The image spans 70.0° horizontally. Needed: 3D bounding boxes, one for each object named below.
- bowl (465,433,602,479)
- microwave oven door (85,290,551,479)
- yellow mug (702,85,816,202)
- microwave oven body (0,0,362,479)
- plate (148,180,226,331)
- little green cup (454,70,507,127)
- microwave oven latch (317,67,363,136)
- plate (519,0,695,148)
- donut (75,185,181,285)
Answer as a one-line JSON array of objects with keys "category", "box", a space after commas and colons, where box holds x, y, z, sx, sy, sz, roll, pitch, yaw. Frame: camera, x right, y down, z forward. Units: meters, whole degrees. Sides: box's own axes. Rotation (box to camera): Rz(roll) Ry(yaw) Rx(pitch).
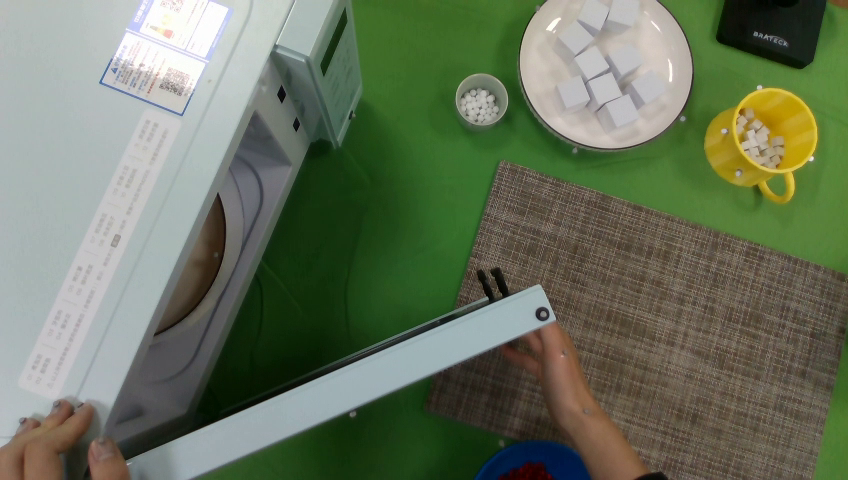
[{"category": "bowl", "box": [0.108, 0.273, 0.639, 0.151, 0.077, 0.151, 0, 83, -3]}, {"category": "microwave oven door", "box": [-0.077, 0.124, 0.545, 0.356, 0.244, 0.039, -22, 84, -6]}, {"category": "yellow mug", "box": [0.394, -0.107, 0.706, 0.100, 0.064, 0.130, -18, 85, -5]}, {"category": "microwave oven body", "box": [-0.292, -0.061, 0.558, 0.326, 0.260, 0.440, 22, 83, -1]}, {"category": "plate", "box": [-0.300, -0.008, 0.601, 0.209, 0.038, 0.208, 0, 86, -6]}, {"category": "little green cup", "box": [0.064, -0.161, 0.705, 0.061, 0.038, 0.061, 0, 84, -4]}, {"category": "microwave oven latch", "box": [-0.094, -0.158, 0.678, 0.030, 0.029, 0.079, 25, 83, 0]}, {"category": "plate", "box": [0.213, -0.208, 0.721, 0.208, 0.039, 0.207, 0, 83, -3]}, {"category": "donut", "box": [-0.286, -0.005, 0.591, 0.099, 0.048, 0.099, 0, 86, -2]}]
